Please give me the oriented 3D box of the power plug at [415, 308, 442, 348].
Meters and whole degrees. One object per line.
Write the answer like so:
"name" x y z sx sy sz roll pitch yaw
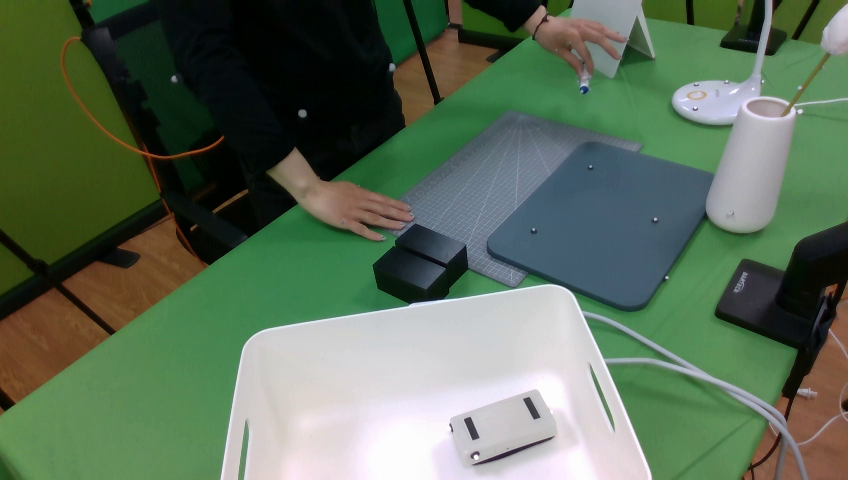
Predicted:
"power plug" 0.004 0.121 0.786 0.035 0.053 0.072 1 46 8

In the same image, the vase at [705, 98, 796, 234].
"vase" 0.480 -0.104 0.889 0.098 0.201 0.097 -4 42 4

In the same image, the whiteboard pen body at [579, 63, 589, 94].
"whiteboard pen body" 0.311 -0.317 1.169 0.017 0.017 0.140 5 39 14

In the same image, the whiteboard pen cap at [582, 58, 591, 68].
"whiteboard pen cap" 0.326 -0.353 1.213 0.018 0.018 0.033 4 34 13

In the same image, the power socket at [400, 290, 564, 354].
"power socket" 0.079 0.111 0.823 0.227 0.033 0.072 -6 41 1

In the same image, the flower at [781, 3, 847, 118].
"flower" 0.480 -0.157 0.823 0.044 0.363 0.038 -9 56 -9

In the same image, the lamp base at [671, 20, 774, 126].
"lamp base" 0.581 -0.332 1.154 0.179 0.181 0.160 2 42 7

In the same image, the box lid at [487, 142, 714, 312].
"box lid" 0.298 -0.041 0.986 0.261 0.015 0.372 23 49 30

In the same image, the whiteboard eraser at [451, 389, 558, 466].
"whiteboard eraser" 0.090 0.213 0.682 0.113 0.042 0.055 -17 39 -8

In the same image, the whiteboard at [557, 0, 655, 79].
"whiteboard" 0.462 -0.542 1.367 0.145 0.306 0.215 -3 36 -25

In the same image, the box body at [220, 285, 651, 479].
"box body" 0.005 0.211 0.616 0.364 0.161 0.252 -9 40 -2
